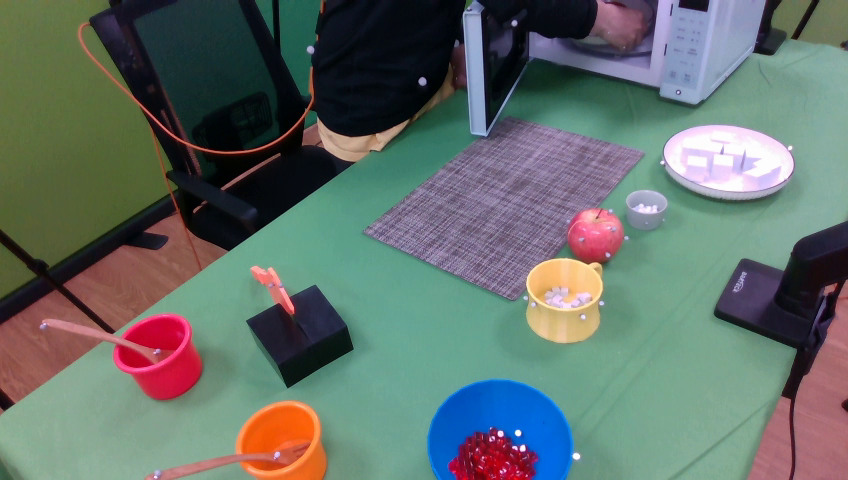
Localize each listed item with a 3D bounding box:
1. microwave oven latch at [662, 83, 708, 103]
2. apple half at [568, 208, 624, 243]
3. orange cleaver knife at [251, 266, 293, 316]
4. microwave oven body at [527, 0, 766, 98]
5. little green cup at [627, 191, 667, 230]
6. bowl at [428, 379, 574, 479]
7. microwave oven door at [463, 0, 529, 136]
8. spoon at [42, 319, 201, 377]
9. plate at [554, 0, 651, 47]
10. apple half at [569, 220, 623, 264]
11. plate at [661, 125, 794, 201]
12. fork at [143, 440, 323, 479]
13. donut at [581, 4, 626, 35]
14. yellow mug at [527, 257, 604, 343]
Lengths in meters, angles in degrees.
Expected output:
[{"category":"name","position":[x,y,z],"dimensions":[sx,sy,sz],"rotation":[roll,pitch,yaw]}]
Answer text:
[{"category":"microwave oven latch","position":[0.518,-0.296,1.204],"dimensions":[0.078,0.029,0.030],"rotation":[28,52,35]},{"category":"apple half","position":[0.259,-0.014,0.914],"dimensions":[0.080,0.075,0.053],"rotation":[0,36,15]},{"category":"orange cleaver knife","position":[-0.221,0.071,0.873],"dimensions":[0.012,0.077,0.210],"rotation":[-25,11,-21]},{"category":"microwave oven body","position":[0.472,-0.513,1.317],"dimensions":[0.438,0.261,0.327],"rotation":[25,51,34]},{"category":"little green cup","position":[0.352,-0.046,0.963],"dimensions":[0.061,0.039,0.061],"rotation":[-3,40,3]},{"category":"bowl","position":[0.082,0.232,0.644],"dimensions":[0.151,0.077,0.150],"rotation":[-4,40,4]},{"category":"microwave oven door","position":[0.156,-0.410,1.236],"dimensions":[0.039,0.245,0.355],"rotation":[10,43,19]},{"category":"spoon","position":[-0.385,0.135,0.779],"dimensions":[0.195,0.021,0.041],"rotation":[29,37,-27]},{"category":"plate","position":[0.396,-0.481,1.349],"dimensions":[0.209,0.038,0.208],"rotation":[-4,41,4]},{"category":"apple half","position":[0.251,0.010,0.884],"dimensions":[0.081,0.081,0.032],"rotation":[3,37,12]},{"category":"plate","position":[0.514,-0.128,1.035],"dimensions":[0.207,0.039,0.206],"rotation":[-4,40,4]},{"category":"fork","position":[-0.190,0.231,0.631],"dimensions":[0.028,0.018,0.209],"rotation":[38,14,37]},{"category":"donut","position":[0.396,-0.490,1.339],"dimensions":[0.099,0.048,0.098],"rotation":[-6,40,5]},{"category":"yellow mug","position":[0.201,0.072,0.825],"dimensions":[0.131,0.064,0.099],"rotation":[-32,46,-27]}]
